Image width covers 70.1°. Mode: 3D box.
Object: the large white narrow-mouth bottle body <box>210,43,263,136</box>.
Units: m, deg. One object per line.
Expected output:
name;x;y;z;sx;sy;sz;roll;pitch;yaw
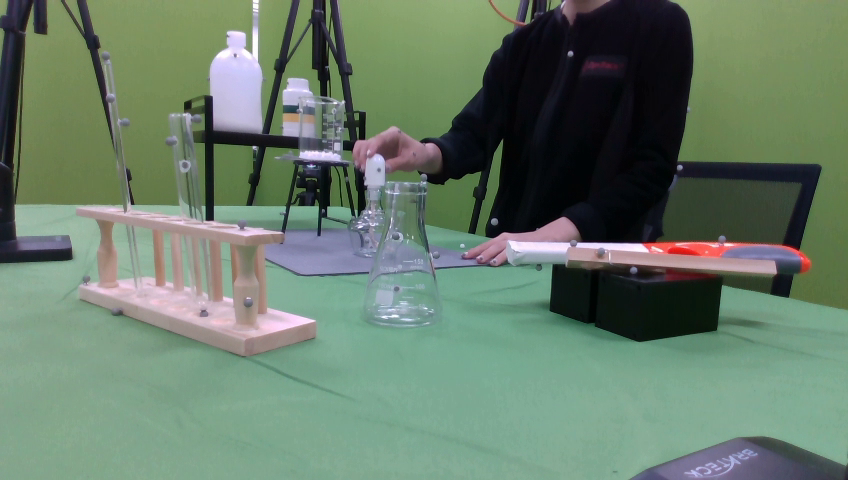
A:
large white narrow-mouth bottle body;-0.369;-0.306;1.194;0.102;0.194;0.102;3;8;0

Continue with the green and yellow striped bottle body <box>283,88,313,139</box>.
green and yellow striped bottle body;-0.265;-0.275;1.275;0.063;0.119;0.063;3;7;0

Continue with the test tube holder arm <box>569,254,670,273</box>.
test tube holder arm;0.172;0.019;0.532;0.088;0.015;0.010;3;-23;4

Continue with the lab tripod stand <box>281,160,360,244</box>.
lab tripod stand;-0.170;-0.063;0.983;0.148;0.131;0.148;1;6;0

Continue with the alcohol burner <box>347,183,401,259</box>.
alcohol burner;-0.071;-0.034;0.867;0.078;0.119;0.078;0;7;0

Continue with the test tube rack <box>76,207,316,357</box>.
test tube rack;-0.196;0.023;0.500;0.241;0.085;0.067;8;9;36

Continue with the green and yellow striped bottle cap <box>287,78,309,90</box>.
green and yellow striped bottle cap;-0.265;-0.326;1.268;0.045;0.020;0.045;4;6;0

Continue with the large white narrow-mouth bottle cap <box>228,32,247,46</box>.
large white narrow-mouth bottle cap;-0.364;-0.391;1.180;0.038;0.024;0.037;3;8;0

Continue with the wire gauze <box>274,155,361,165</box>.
wire gauze;-0.174;-0.129;0.978;0.125;0.011;0.121;-2;6;-19

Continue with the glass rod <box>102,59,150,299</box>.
glass rod;-0.244;-0.045;0.496;0.008;0.199;0.008;-3;13;1

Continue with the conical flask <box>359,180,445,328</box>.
conical flask;-0.017;0.010;0.522;0.075;0.122;0.075;2;7;0

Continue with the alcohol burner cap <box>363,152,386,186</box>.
alcohol burner cap;-0.070;-0.101;0.862;0.034;0.048;0.034;0;5;0

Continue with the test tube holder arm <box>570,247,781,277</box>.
test tube holder arm;0.217;0.019;0.524;0.178;0.015;0.013;3;-23;3

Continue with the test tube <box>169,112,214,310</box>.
test tube;-0.175;-0.020;0.455;0.017;0.150;0.017;-3;9;1

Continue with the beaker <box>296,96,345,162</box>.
beaker;-0.163;-0.175;0.966;0.083;0.100;0.074;8;8;34

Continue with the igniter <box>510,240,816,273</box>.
igniter;0.220;0.015;0.565;0.277;0.025;0.057;2;16;0
